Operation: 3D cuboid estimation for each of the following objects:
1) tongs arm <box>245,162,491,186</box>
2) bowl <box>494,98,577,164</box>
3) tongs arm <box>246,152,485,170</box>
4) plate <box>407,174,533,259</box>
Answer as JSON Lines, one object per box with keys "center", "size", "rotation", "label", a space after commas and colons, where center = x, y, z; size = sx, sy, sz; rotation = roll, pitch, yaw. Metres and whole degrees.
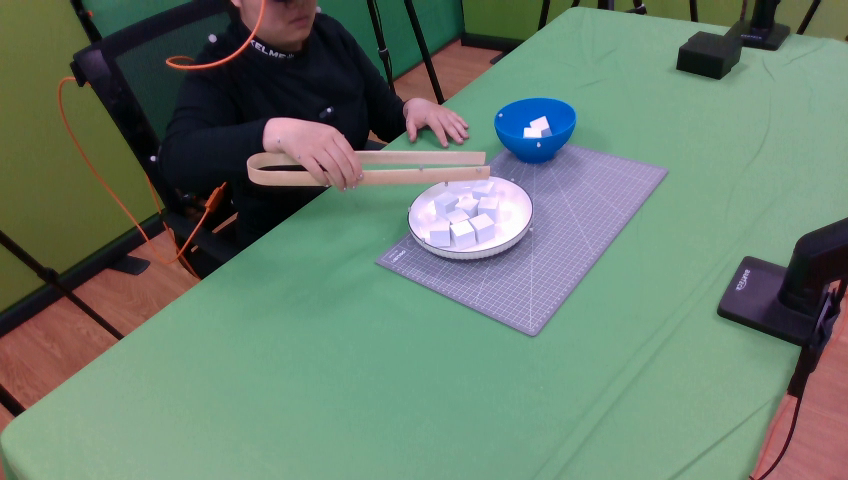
{"center": [-0.085, -0.110, 0.966], "size": [0.386, 0.026, 0.050], "rotation": [-4, 40, -13], "label": "tongs arm"}
{"center": [0.207, -0.196, 1.128], "size": [0.151, 0.077, 0.150], "rotation": [-5, 40, 5], "label": "bowl"}
{"center": [-0.089, -0.128, 0.988], "size": [0.389, 0.028, 0.028], "rotation": [-2, 43, -10], "label": "tongs arm"}
{"center": [0.076, -0.037, 0.997], "size": [0.207, 0.039, 0.206], "rotation": [-5, 40, 5], "label": "plate"}
